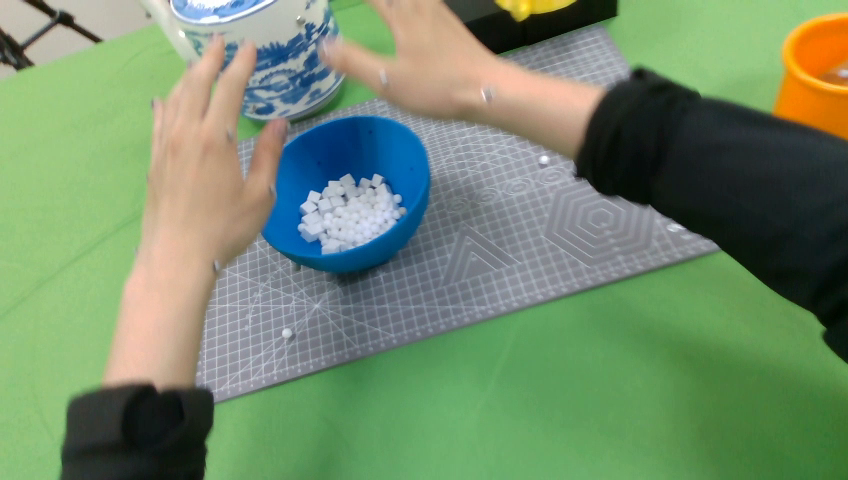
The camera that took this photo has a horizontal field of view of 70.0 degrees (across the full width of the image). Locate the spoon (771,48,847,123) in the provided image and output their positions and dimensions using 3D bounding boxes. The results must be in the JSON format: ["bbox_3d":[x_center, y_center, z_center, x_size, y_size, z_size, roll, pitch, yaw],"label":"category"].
[{"bbox_3d":[0.350,-0.163,0.456,0.022,0.194,0.041,11,44,-31],"label":"spoon"}]

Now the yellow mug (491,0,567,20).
[{"bbox_3d":[0.101,-0.271,0.590,0.099,0.064,0.130,12,62,23],"label":"yellow mug"}]

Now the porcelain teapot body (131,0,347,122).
[{"bbox_3d":[-0.205,-0.235,0.613,0.205,0.228,0.144,-7,54,12],"label":"porcelain teapot body"}]

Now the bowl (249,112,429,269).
[{"bbox_3d":[-0.062,-0.029,0.517,0.151,0.077,0.150,-7,54,11],"label":"bowl"}]

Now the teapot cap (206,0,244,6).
[{"bbox_3d":[-0.187,-0.260,0.576,0.085,0.044,0.084,-9,55,13],"label":"teapot cap"}]
